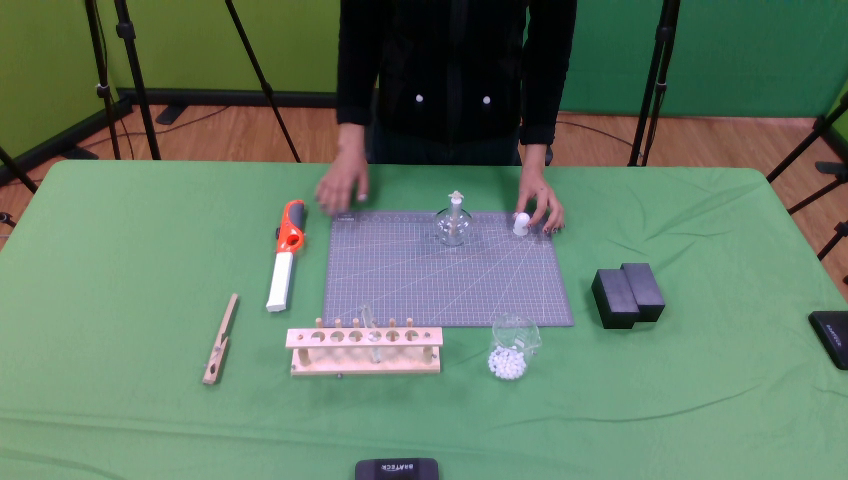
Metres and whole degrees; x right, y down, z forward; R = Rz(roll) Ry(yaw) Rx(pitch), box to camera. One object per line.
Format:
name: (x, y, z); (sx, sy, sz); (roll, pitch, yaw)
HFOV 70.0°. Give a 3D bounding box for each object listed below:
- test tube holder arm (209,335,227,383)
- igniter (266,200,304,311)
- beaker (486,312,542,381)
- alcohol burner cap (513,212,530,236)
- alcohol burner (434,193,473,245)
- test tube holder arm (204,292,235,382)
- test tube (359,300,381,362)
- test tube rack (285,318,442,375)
test tube holder arm: (-0.338, 0.193, 0.991); (0.010, 0.015, 0.087); (28, 39, -26)
igniter: (-0.263, 0.020, 1.156); (0.057, 0.025, 0.274); (-6, 46, 4)
beaker: (0.144, 0.177, 0.985); (0.084, 0.101, 0.074); (22, 49, 16)
alcohol burner cap: (0.199, -0.035, 1.228); (0.034, 0.048, 0.033); (2, 45, -2)
alcohol burner: (0.059, -0.047, 1.180); (0.078, 0.120, 0.077); (1, 48, -1)
test tube holder arm: (-0.343, 0.159, 1.020); (0.013, 0.015, 0.177); (27, 39, -27)
test tube: (-0.083, 0.144, 0.940); (0.017, 0.151, 0.017); (-3, 46, 3)
test tube rack: (-0.095, 0.168, 0.986); (0.242, 0.085, 0.066); (0, 46, -4)
